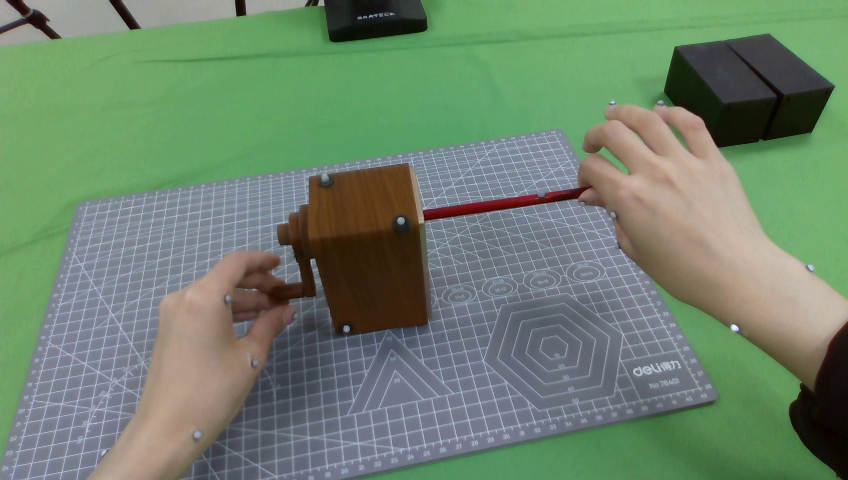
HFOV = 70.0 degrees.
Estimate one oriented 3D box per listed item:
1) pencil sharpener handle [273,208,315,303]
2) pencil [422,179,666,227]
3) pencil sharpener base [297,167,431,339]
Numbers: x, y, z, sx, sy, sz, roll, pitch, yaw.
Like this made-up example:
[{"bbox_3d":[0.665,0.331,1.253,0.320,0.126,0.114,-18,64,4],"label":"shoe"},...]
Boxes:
[{"bbox_3d":[-0.089,0.013,0.397,0.031,0.068,0.035,-8,31,-3],"label":"pencil sharpener handle"},{"bbox_3d":[0.066,-0.023,0.401,0.194,0.012,0.012,-9,46,-4],"label":"pencil"},{"bbox_3d":[-0.038,0.012,0.412,0.077,0.108,0.060,-8,47,-3],"label":"pencil sharpener base"}]
